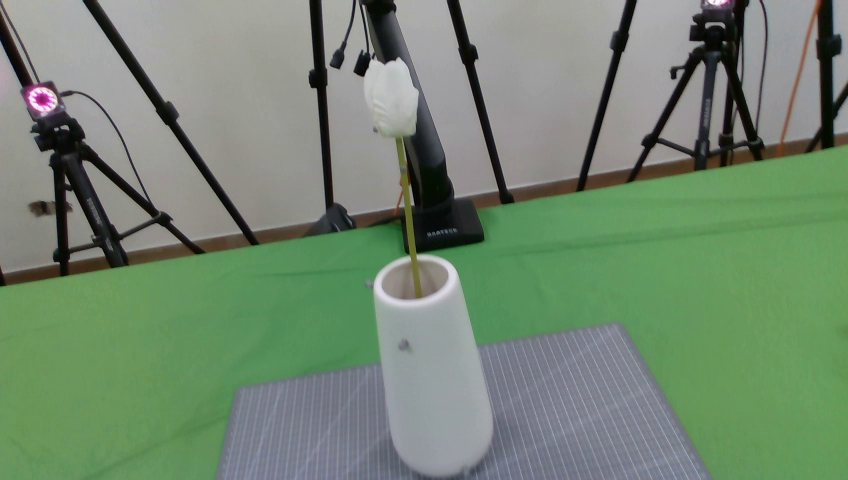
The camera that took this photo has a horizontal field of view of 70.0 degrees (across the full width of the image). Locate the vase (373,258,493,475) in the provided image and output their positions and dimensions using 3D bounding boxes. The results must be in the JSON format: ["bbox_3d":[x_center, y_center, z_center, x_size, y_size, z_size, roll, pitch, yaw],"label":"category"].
[{"bbox_3d":[0.006,0.115,0.540,0.098,0.202,0.097,-7,31,5],"label":"vase"}]

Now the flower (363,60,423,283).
[{"bbox_3d":[-0.004,0.037,0.510,0.038,0.363,0.043,-17,15,-32],"label":"flower"}]
